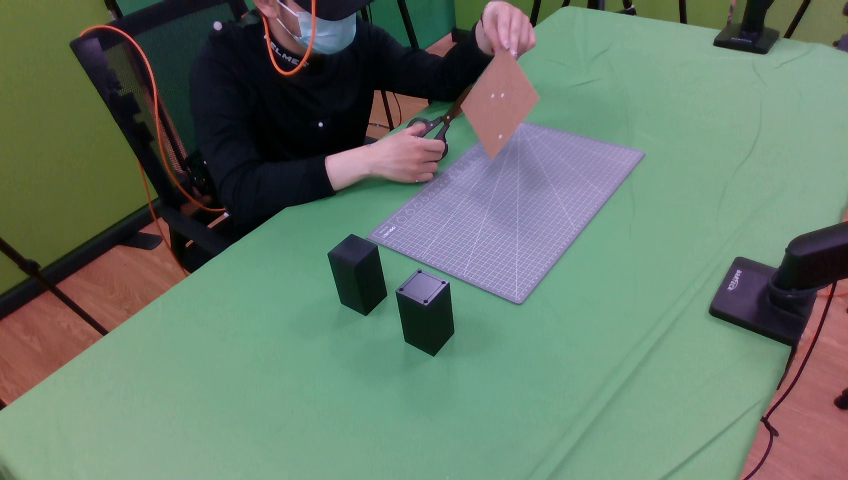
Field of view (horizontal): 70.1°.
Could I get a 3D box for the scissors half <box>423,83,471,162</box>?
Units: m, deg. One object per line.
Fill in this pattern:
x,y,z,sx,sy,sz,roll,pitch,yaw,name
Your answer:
0.045,-0.208,1.086,0.040,0.175,0.013,34,38,8,scissors half

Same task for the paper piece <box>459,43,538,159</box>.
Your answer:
0.117,-0.226,0.988,0.004,0.135,0.135,1,53,-38,paper piece

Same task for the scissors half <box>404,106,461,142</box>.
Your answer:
0.028,-0.225,1.085,0.174,0.040,0.013,-23,19,35,scissors half

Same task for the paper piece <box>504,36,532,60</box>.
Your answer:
0.131,-0.304,1.081,0.008,0.135,0.139,47,37,5,paper piece
